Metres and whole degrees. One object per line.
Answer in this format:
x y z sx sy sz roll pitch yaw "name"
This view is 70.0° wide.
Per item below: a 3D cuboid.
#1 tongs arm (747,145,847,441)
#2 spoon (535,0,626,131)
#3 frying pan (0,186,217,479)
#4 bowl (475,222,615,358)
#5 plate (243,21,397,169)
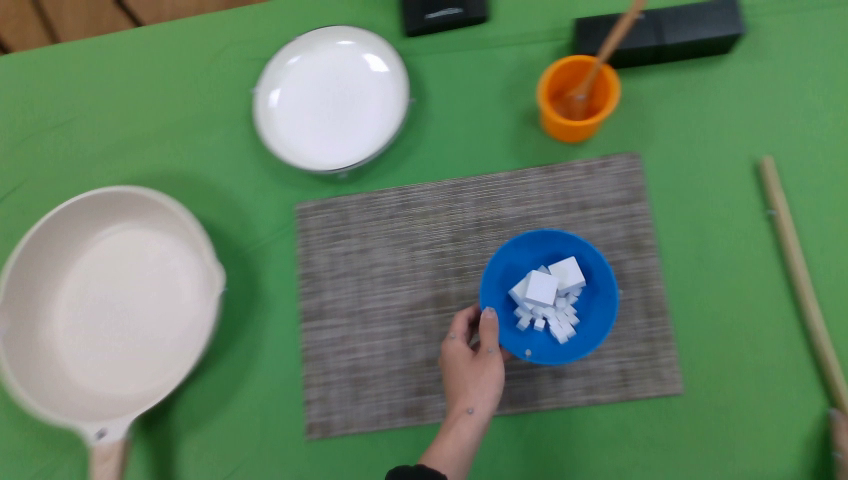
0.444 0.070 0.696 0.028 0.028 0.385 -14 78 1 "tongs arm"
0.190 -0.214 0.723 0.041 0.194 0.021 41 41 16 "spoon"
-0.381 0.175 0.730 0.307 0.103 0.484 -11 69 5 "frying pan"
0.134 0.061 0.693 0.151 0.077 0.150 -1 79 5 "bowl"
-0.136 -0.191 0.811 0.207 0.039 0.206 -1 78 7 "plate"
